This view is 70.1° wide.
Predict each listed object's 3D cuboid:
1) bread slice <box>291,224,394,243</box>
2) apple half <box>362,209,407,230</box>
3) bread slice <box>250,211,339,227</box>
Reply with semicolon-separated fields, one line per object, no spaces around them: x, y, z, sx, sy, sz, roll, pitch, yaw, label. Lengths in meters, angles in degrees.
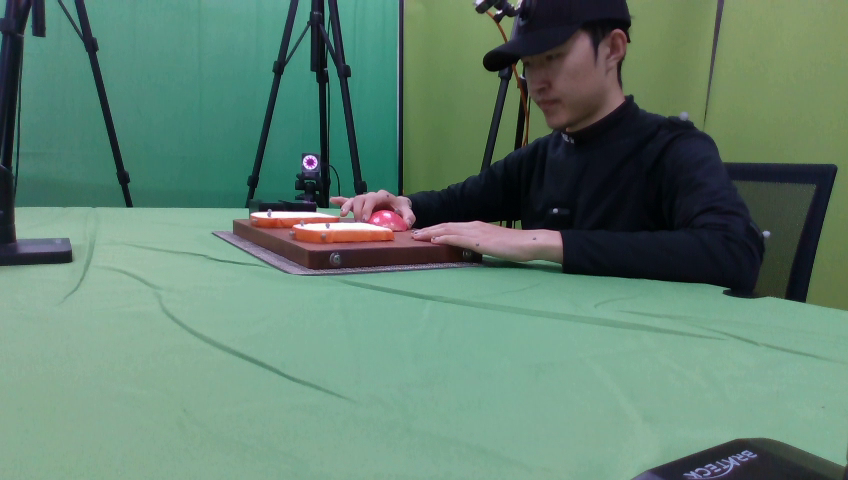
-0.122;-0.011;0.869;0.132;0.019;0.104;-1;7;-32;bread slice
-0.063;-0.035;1.011;0.081;0.033;0.081;2;5;0;apple half
-0.223;-0.035;1.021;0.135;0.018;0.106;-3;9;-33;bread slice
